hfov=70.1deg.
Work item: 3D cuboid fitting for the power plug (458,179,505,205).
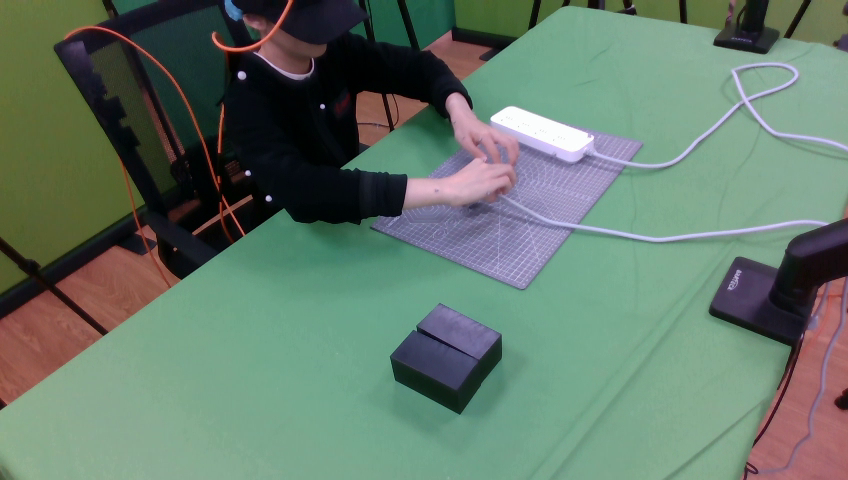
[{"bbox_3d":[0.092,-0.077,1.026,0.072,0.035,0.052,27,75,46],"label":"power plug"}]

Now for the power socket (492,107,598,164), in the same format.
[{"bbox_3d":[0.227,-0.205,1.170,0.072,0.033,0.225,-36,48,-28],"label":"power socket"}]
